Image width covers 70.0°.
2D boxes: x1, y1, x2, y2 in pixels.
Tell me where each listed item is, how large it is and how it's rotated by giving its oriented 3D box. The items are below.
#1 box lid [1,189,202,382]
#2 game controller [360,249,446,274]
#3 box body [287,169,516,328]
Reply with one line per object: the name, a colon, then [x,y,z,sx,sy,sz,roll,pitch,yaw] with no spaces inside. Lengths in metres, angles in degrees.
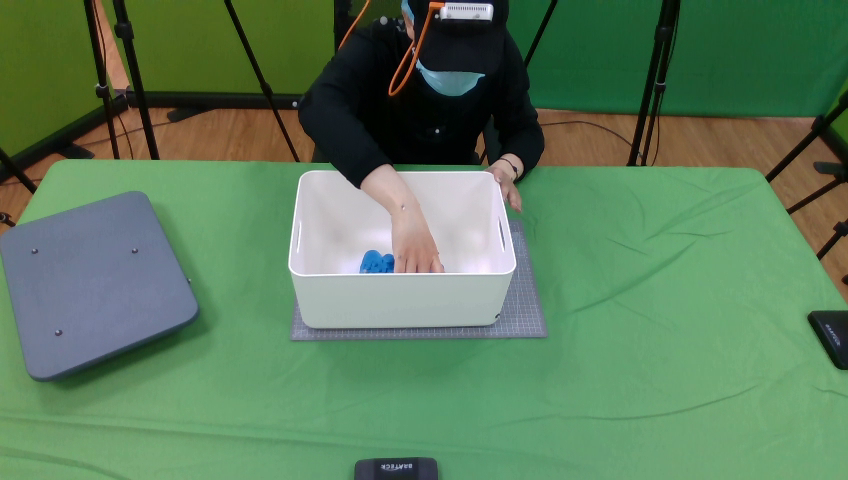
box lid: [-0.565,0.059,1.050,0.263,0.015,0.369,-23,52,-23]
game controller: [-0.042,0.057,1.106,0.155,0.052,0.096,11,52,7]
box body: [-0.040,0.015,1.075,0.364,0.161,0.252,-1,47,-4]
